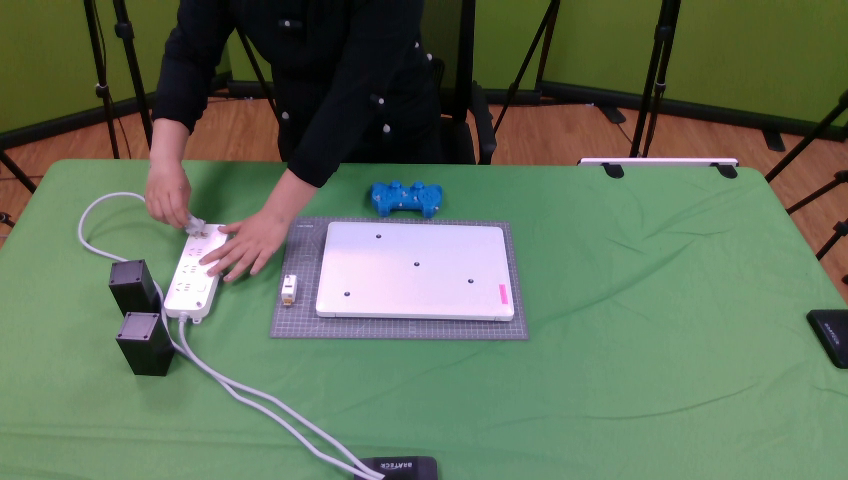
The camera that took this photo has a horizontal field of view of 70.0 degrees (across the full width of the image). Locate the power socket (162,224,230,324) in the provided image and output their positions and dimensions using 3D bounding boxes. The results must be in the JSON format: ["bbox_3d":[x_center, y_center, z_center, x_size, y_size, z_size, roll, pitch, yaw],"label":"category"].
[{"bbox_3d":[-0.412,0.052,1.107,0.072,0.033,0.225,4,46,-4],"label":"power socket"}]

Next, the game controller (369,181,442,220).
[{"bbox_3d":[-0.039,-0.092,1.268,0.155,0.052,0.096,2,50,-2],"label":"game controller"}]

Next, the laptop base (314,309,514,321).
[{"bbox_3d":[-0.017,0.059,1.141,0.354,0.023,0.234,2,42,-3],"label":"laptop base"}]

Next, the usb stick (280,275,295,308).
[{"bbox_3d":[-0.244,0.093,1.081,0.021,0.027,0.059,3,48,-5],"label":"usb stick"}]

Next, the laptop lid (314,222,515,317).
[{"bbox_3d":[-0.016,0.049,1.134,0.357,0.013,0.240,3,43,-2],"label":"laptop lid"}]

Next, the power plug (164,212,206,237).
[{"bbox_3d":[-0.442,-0.032,1.137,0.072,0.053,0.035,21,53,25],"label":"power plug"}]
